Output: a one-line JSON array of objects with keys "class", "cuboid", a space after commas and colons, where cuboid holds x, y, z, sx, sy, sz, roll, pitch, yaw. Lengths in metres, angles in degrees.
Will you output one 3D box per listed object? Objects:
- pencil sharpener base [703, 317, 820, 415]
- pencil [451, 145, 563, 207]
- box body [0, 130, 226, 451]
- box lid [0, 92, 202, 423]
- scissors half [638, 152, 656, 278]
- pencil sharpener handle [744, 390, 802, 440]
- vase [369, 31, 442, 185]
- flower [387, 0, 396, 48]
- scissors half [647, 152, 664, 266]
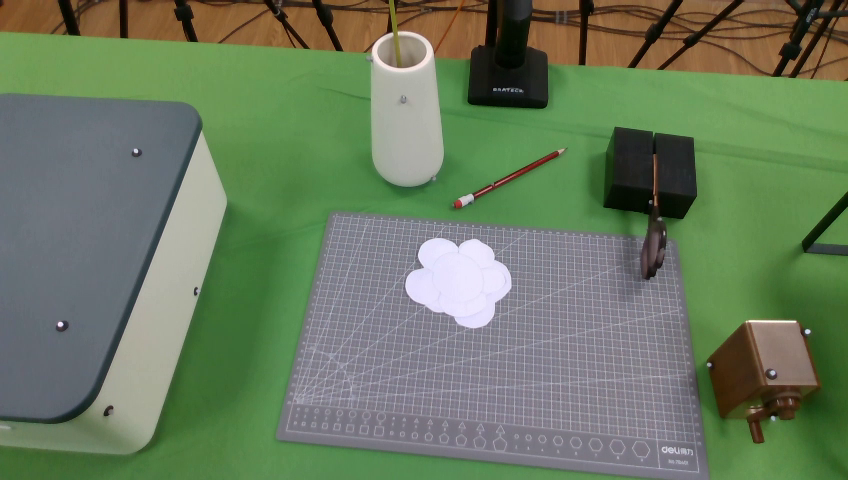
[{"class": "pencil sharpener base", "cuboid": [0.345, 0.135, 0.627, 0.061, 0.108, 0.076, 1, 58, 1]}, {"class": "pencil", "cuboid": [0.118, -0.091, 0.830, 0.194, 0.012, 0.012, -29, 61, -19]}, {"class": "box body", "cuboid": [-0.390, 0.032, 0.660, 0.254, 0.162, 0.361, 3, 57, 2]}, {"class": "box lid", "cuboid": [-0.390, -0.010, 0.598, 0.263, 0.015, 0.368, 4, 57, 2]}, {"class": "scissors half", "cuboid": [0.280, -0.034, 0.758, 0.013, 0.040, 0.174, 10, 70, 2]}, {"class": "pencil sharpener handle", "cuboid": [0.340, 0.171, 0.589, 0.036, 0.068, 0.030, 9, 57, -12]}, {"class": "vase", "cuboid": [-0.026, -0.160, 0.762, 0.098, 0.202, 0.097, -1, 56, 1]}, {"class": "flower", "cuboid": [-0.033, -0.217, 0.700, 0.044, 0.365, 0.038, -2, 40, 3]}, {"class": "scissors half", "cuboid": [0.280, -0.045, 0.740, 0.013, 0.040, 0.174, 7, 53, 6]}]
